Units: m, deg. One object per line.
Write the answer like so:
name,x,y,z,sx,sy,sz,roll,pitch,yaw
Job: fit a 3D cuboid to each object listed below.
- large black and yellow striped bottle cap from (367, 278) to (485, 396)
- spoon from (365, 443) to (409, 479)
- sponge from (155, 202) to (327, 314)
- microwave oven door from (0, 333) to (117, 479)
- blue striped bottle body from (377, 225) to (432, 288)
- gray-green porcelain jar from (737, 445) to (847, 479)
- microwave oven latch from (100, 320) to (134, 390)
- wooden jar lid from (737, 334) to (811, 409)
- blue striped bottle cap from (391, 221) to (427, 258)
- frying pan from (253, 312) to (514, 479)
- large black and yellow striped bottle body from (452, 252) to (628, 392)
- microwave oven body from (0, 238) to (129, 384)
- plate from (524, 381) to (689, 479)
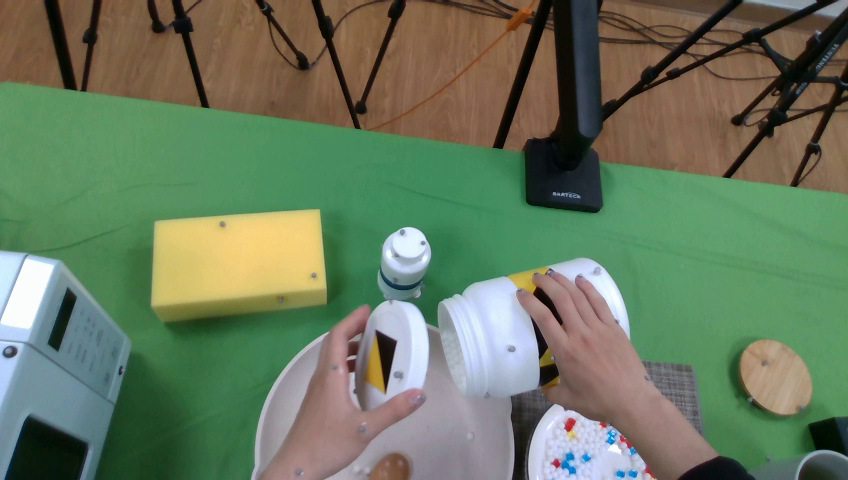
large black and yellow striped bottle cap,0.003,0.087,0.555,0.116,0.019,0.114,18,47,-21
spoon,-0.081,0.291,0.666,0.041,0.022,0.194,45,39,12
sponge,-0.234,0.022,0.792,0.207,0.061,0.117,-5,66,-13
microwave oven door,-0.367,0.283,0.521,0.039,0.245,0.353,7,63,-6
blue striped bottle body,-0.026,0.021,0.794,0.063,0.121,0.062,4,64,-8
gray-green porcelain jar,0.455,0.311,0.734,0.106,0.127,0.105,4,64,-7
microwave oven latch,-0.363,0.133,0.708,0.030,0.029,0.078,7,64,-6
wooden jar lid,0.493,0.187,0.860,0.108,0.021,0.107,4,65,-7
blue striped bottle cap,-0.018,-0.001,0.748,0.045,0.021,0.044,4,60,-6
frying pan,-0.007,0.312,0.663,0.307,0.103,0.483,-15,60,-15
large black and yellow striped bottle body,0.116,0.094,0.679,0.184,0.131,0.129,-13,67,-11
microwave oven body,-0.509,0.229,0.529,0.327,0.261,0.438,7,64,-6
plate,0.222,0.282,0.754,0.209,0.038,0.207,4,64,-7
